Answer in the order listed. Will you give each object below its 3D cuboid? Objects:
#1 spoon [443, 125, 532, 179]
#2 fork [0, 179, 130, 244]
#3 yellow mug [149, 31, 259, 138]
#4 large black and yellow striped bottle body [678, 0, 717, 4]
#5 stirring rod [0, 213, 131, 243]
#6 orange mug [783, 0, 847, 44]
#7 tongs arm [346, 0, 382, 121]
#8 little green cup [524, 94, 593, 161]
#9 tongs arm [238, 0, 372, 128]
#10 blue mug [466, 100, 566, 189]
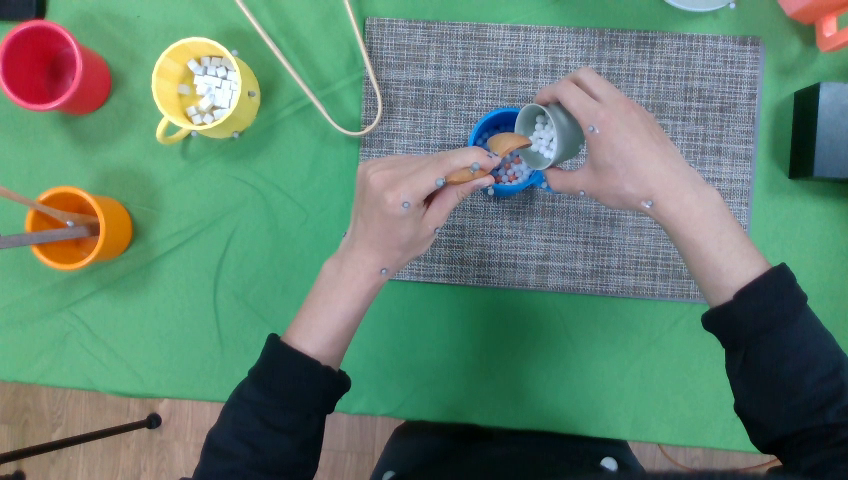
[{"bbox_3d":[0.053,-0.071,0.489,0.041,0.193,0.022,6,113,19],"label":"spoon"},{"bbox_3d":[-0.423,-0.046,0.656,0.209,0.018,0.028,32,88,-42],"label":"fork"},{"bbox_3d":[-0.256,-0.165,0.685,0.100,0.064,0.131,43,95,0],"label":"yellow mug"},{"bbox_3d":[0.302,-0.326,0.593,0.131,0.184,0.131,0,92,3],"label":"large black and yellow striped bottle body"},{"bbox_3d":[-0.416,-0.011,0.663,0.177,0.006,0.014,-13,88,-38],"label":"stirring rod"},{"bbox_3d":[0.437,-0.276,0.633,0.083,0.101,0.126,-6,88,4],"label":"orange mug"},{"bbox_3d":[-0.115,-0.321,0.668,0.028,0.027,0.388,-21,98,-5],"label":"tongs arm"},{"bbox_3d":[0.129,-0.106,0.571,0.061,0.039,0.062,7,103,31],"label":"little green cup"},{"bbox_3d":[-0.189,-0.280,0.671,0.051,0.026,0.386,-35,98,0],"label":"tongs arm"},{"bbox_3d":[0.100,-0.091,0.649,0.116,0.106,0.082,32,93,1],"label":"blue mug"}]
